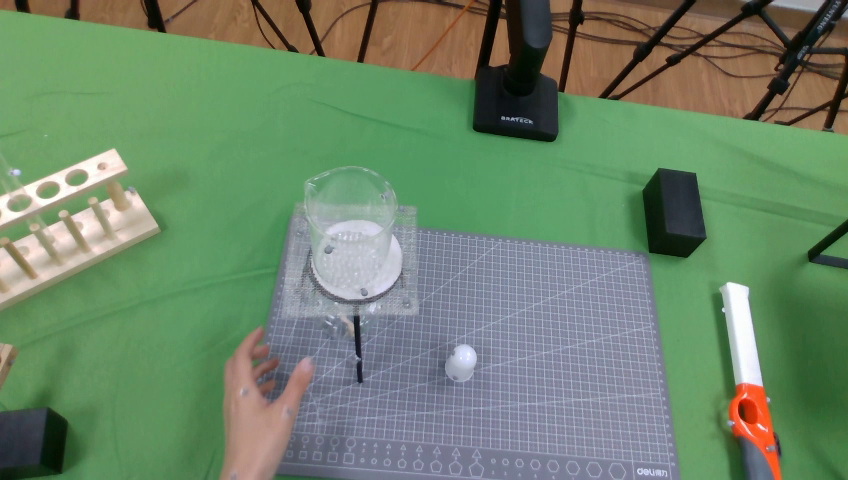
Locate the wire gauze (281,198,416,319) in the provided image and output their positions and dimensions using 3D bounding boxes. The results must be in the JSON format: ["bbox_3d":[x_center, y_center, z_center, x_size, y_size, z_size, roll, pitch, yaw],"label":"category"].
[{"bbox_3d":[-0.069,0.014,0.568,0.121,0.011,0.124,1,63,-5],"label":"wire gauze"}]

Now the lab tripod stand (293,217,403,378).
[{"bbox_3d":[-0.073,0.052,0.622,0.149,0.132,0.147,4,60,-7],"label":"lab tripod stand"}]

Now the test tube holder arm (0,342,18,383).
[{"bbox_3d":[-0.393,0.135,0.546,0.010,0.015,0.087,9,58,-2],"label":"test tube holder arm"}]

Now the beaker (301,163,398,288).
[{"bbox_3d":[-0.068,-0.009,0.525,0.084,0.101,0.073,28,61,9],"label":"beaker"}]

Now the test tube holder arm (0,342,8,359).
[{"bbox_3d":[-0.404,0.172,0.522,0.013,0.015,0.177,8,58,-3],"label":"test tube holder arm"}]

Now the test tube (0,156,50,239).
[{"bbox_3d":[-0.411,-0.046,0.609,0.017,0.151,0.017,4,55,-6],"label":"test tube"}]

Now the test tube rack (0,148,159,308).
[{"bbox_3d":[-0.420,0.001,0.637,0.242,0.086,0.066,-31,68,-23],"label":"test tube rack"}]

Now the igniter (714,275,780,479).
[{"bbox_3d":[0.359,0.166,0.676,0.057,0.025,0.274,14,59,-11],"label":"igniter"}]

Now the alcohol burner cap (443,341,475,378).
[{"bbox_3d":[0.039,0.126,0.647,0.034,0.048,0.033,2,62,-3],"label":"alcohol burner cap"}]

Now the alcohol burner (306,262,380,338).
[{"bbox_3d":[-0.084,0.055,0.630,0.078,0.120,0.077,4,58,-7],"label":"alcohol burner"}]
